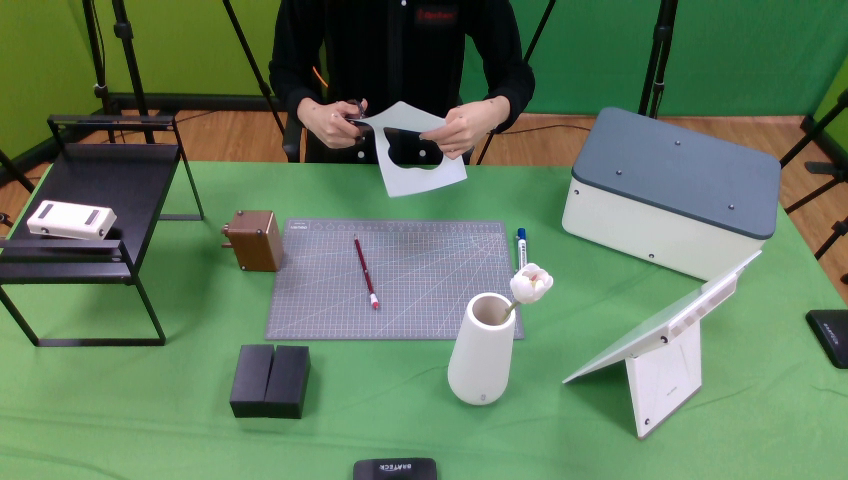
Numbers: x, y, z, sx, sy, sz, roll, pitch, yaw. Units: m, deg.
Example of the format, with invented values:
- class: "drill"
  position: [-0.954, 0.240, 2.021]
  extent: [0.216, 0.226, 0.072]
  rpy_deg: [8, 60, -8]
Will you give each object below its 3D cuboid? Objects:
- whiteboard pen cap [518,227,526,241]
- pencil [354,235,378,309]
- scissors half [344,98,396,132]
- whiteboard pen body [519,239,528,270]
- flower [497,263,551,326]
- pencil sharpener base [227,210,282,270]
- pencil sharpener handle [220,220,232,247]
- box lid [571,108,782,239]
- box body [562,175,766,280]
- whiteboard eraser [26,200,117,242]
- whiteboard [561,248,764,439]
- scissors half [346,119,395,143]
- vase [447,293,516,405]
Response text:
- class: "whiteboard pen cap"
  position: [0.197, -0.009, 1.220]
  extent: [0.018, 0.018, 0.033]
  rpy_deg: [5, 51, 1]
- class: "pencil"
  position: [-0.113, 0.055, 1.143]
  extent: [0.012, 0.012, 0.192]
  rpy_deg: [-10, 46, -13]
- class: "scissors half"
  position: [-0.096, -0.216, 1.065]
  extent: [0.013, 0.040, 0.174]
  rpy_deg: [-20, 36, -30]
- class: "whiteboard pen body"
  position: [0.193, 0.035, 1.181]
  extent: [0.017, 0.017, 0.140]
  rpy_deg: [6, 48, 1]
- class: "flower"
  position: [0.102, 0.121, 0.852]
  extent: [0.044, 0.363, 0.038]
  rpy_deg: [-1, 64, -10]
- class: "pencil sharpener base"
  position: [-0.311, 0.001, 1.112]
  extent: [0.077, 0.107, 0.061]
  rpy_deg: [1, 47, 1]
- class: "pencil sharpener handle"
  position: [-0.362, -0.009, 1.105]
  extent: [0.030, 0.068, 0.036]
  rpy_deg: [1, 52, 1]
- class: "box lid"
  position: [0.491, -0.139, 1.168]
  extent: [0.370, 0.015, 0.262]
  rpy_deg: [21, 49, 15]
- class: "box body"
  position: [0.486, -0.088, 1.222]
  extent: [0.363, 0.161, 0.253]
  rpy_deg: [20, 48, 15]
- class: "whiteboard eraser"
  position: [-0.532, -0.026, 0.919]
  extent: [0.113, 0.042, 0.055]
  rpy_deg: [7, 45, 3]
- class: "whiteboard"
  position: [0.386, 0.176, 0.905]
  extent: [0.217, 0.306, 0.143]
  rpy_deg: [-26, 72, -27]
- class: "scissors half"
  position: [-0.095, -0.196, 1.072]
  extent: [0.013, 0.040, 0.174]
  rpy_deg: [-14, 10, -31]
- class: "vase"
  position: [0.091, 0.169, 0.921]
  extent: [0.098, 0.201, 0.097]
  rpy_deg: [3, 47, -3]
